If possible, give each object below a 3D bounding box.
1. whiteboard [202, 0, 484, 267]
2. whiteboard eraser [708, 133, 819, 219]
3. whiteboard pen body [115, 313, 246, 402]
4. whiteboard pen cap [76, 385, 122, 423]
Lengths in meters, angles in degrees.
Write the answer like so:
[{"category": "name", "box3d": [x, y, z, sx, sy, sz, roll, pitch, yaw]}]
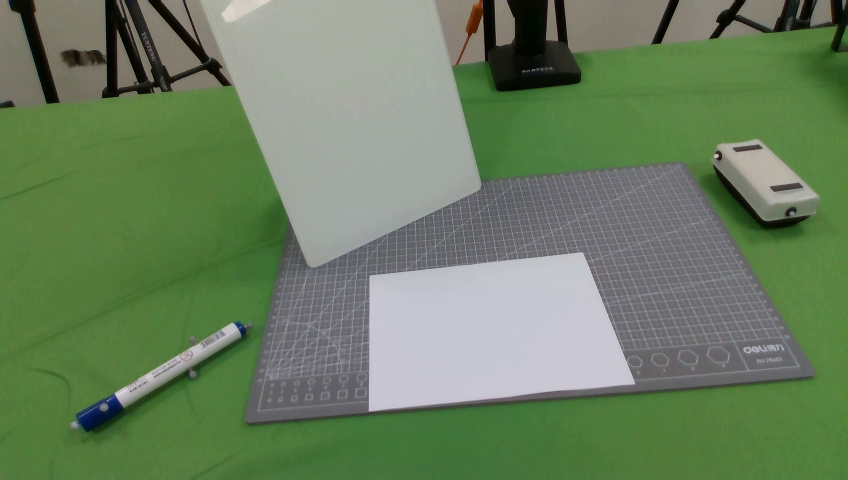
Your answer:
[{"category": "whiteboard", "box3d": [-0.095, -0.168, 0.637, 0.217, 0.308, 0.142, -26, 25, -20]}, {"category": "whiteboard eraser", "box3d": [0.346, -0.067, 0.625, 0.055, 0.042, 0.111, -10, 42, -2]}, {"category": "whiteboard pen body", "box3d": [-0.216, 0.104, 0.515, 0.141, 0.017, 0.017, -33, 48, -28]}, {"category": "whiteboard pen cap", "box3d": [-0.260, 0.130, 0.487, 0.033, 0.018, 0.018, -34, 48, -29]}]
